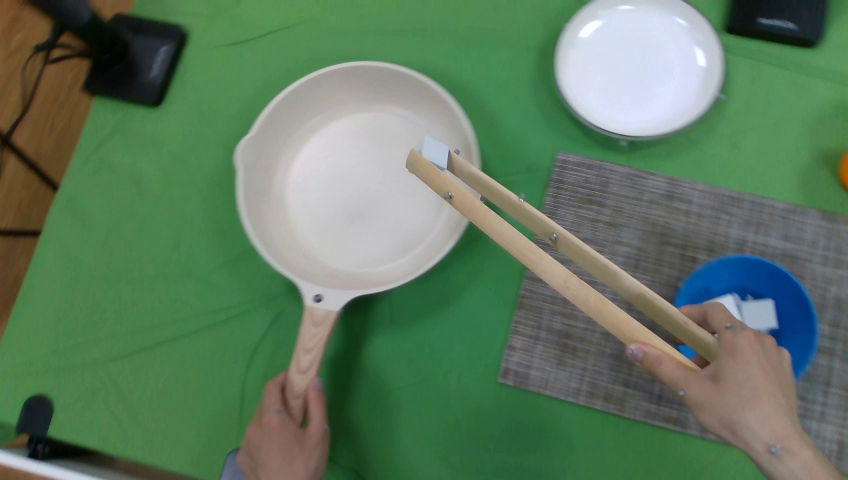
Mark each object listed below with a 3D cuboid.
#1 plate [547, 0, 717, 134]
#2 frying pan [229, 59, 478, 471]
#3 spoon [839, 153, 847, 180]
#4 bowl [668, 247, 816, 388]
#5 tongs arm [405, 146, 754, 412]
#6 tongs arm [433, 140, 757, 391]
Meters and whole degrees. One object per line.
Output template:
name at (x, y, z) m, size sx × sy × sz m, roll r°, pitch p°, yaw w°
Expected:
plate at (0.261, -0.230, 0.775) m, size 0.207 × 0.039 × 0.206 m, roll -1°, pitch 78°, yaw 4°
frying pan at (-0.108, 0.018, 0.715) m, size 0.306 × 0.103 × 0.485 m, roll 12°, pitch 71°, yaw 7°
spoon at (0.566, -0.127, 0.675) m, size 0.022 × 0.194 × 0.041 m, roll -8°, pitch 66°, yaw -43°
bowl at (0.339, 0.088, 0.677) m, size 0.151 × 0.077 × 0.150 m, roll -1°, pitch 79°, yaw 4°
tongs arm at (0.117, 0.021, 0.559) m, size 0.384 × 0.028 × 0.028 m, roll 40°, pitch 126°, yaw 25°
tongs arm at (0.137, 0.014, 0.579) m, size 0.381 × 0.027 × 0.051 m, roll 38°, pitch 39°, yaw 23°
